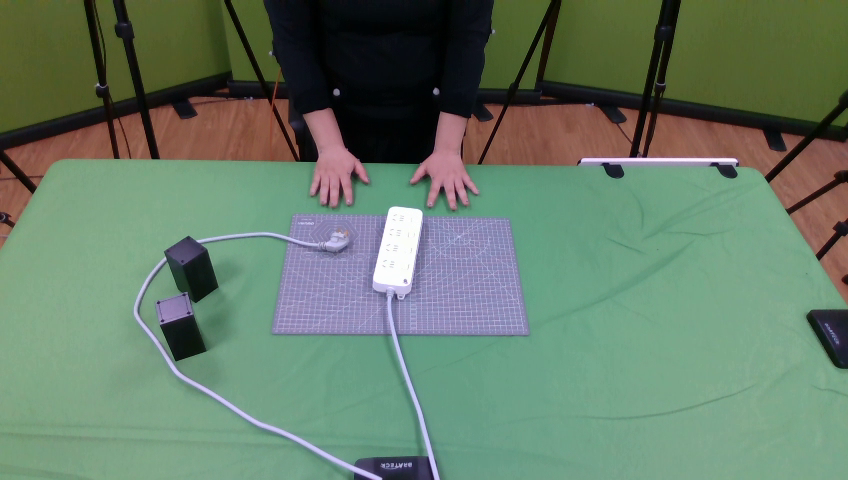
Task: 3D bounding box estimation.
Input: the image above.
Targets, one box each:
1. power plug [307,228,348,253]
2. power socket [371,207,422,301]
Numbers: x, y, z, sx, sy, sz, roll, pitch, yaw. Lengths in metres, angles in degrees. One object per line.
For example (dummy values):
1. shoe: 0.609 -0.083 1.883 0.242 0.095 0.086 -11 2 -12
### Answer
1. power plug: -0.183 -0.005 1.169 0.072 0.035 0.052 17 55 -3
2. power socket: -0.051 0.018 1.165 0.072 0.033 0.225 6 46 3
